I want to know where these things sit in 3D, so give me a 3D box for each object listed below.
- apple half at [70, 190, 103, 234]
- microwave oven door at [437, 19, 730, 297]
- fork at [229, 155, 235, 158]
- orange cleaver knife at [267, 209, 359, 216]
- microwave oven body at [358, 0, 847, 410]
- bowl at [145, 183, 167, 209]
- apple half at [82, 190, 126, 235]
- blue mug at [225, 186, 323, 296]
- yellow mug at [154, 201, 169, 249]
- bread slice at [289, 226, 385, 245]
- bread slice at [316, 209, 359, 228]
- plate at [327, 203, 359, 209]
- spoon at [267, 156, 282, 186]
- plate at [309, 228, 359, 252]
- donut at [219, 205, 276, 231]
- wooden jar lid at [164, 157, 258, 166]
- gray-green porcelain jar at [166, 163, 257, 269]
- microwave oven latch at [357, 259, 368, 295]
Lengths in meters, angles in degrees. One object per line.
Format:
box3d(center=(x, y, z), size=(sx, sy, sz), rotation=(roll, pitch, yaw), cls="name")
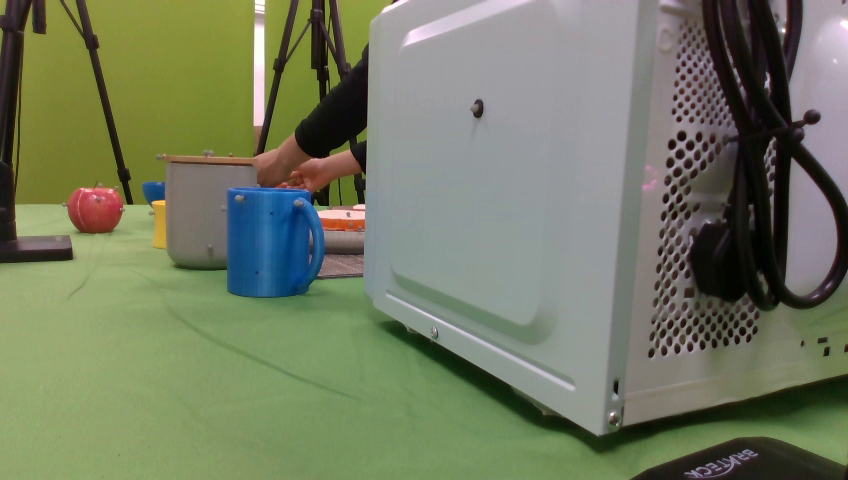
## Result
box3d(center=(-0.552, -0.047, 1.009), size=(0.053, 0.074, 0.081), rotation=(-1, 9, 27), cls="apple half")
box3d(center=(0.180, -0.076, 0.618), size=(0.358, 0.243, 0.039), rotation=(-2, 9, -28), cls="microwave oven door")
box3d(center=(-0.459, -0.134, 1.415), size=(0.028, 0.018, 0.207), rotation=(-1, -34, -24), cls="fork")
box3d(center=(-0.259, -0.064, 1.423), size=(0.212, 0.012, 0.077), rotation=(-4, 3, -30), cls="orange cleaver knife")
box3d(center=(0.210, -0.051, 0.471), size=(0.444, 0.260, 0.324), rotation=(-1, 7, -28), cls="microwave oven body")
box3d(center=(-0.459, -0.068, 1.175), size=(0.151, 0.077, 0.151), rotation=(3, 7, 0), cls="bowl")
box3d(center=(-0.517, -0.046, 0.994), size=(0.032, 0.081, 0.081), rotation=(0, 6, 26), cls="apple half")
box3d(center=(-0.148, 0.000, 0.618), size=(0.116, 0.106, 0.083), rotation=(7, 9, 33), cls="blue mug")
box3d(center=(-0.338, -0.022, 0.899), size=(0.130, 0.064, 0.100), rotation=(8, 9, 34), cls="yellow mug")
box3d(center=(-0.125, -0.008, 0.938), size=(0.131, 0.019, 0.105), rotation=(5, 8, 31), cls="bread slice")
box3d(center=(-0.126, -0.034, 0.934), size=(0.134, 0.018, 0.107), rotation=(3, 10, 28), cls="bread slice")
box3d(center=(-0.102, -0.053, 1.299), size=(0.209, 0.038, 0.209), rotation=(2, 8, 0), cls="plate")
box3d(center=(-0.391, -0.150, 1.547), size=(0.041, 0.021, 0.193), rotation=(4, 53, 7), cls="spoon")
box3d(center=(-0.130, -0.011, 0.945), size=(0.208, 0.039, 0.207), rotation=(2, 8, 0), cls="plate")
box3d(center=(-0.316, -0.038, 1.083), size=(0.099, 0.048, 0.099), rotation=(2, 7, 0), cls="donut")
box3d(center=(-0.261, -0.093, 0.746), size=(0.108, 0.020, 0.108), rotation=(1, 9, 0), cls="wooden jar lid")
box3d(center=(-0.263, -0.031, 0.754), size=(0.106, 0.126, 0.106), rotation=(2, 7, 0), cls="gray-green porcelain jar")
box3d(center=(-0.019, 0.031, 0.529), size=(0.079, 0.029, 0.030), rotation=(-1, 7, -27), cls="microwave oven latch")
